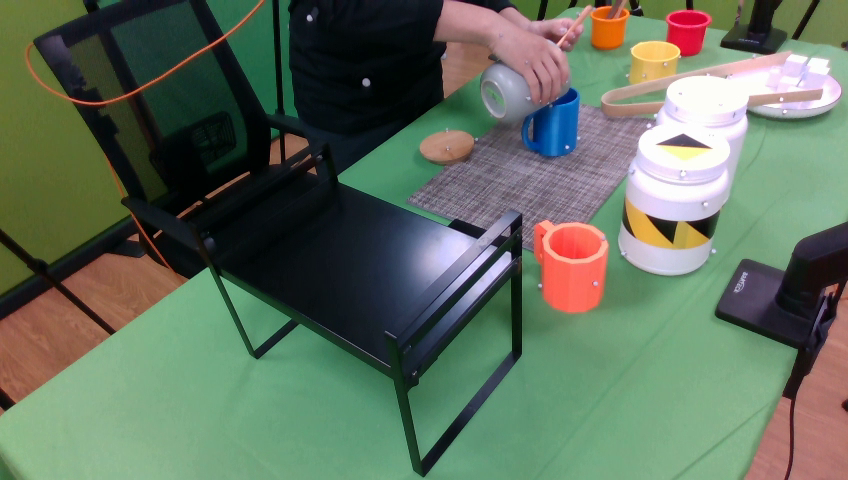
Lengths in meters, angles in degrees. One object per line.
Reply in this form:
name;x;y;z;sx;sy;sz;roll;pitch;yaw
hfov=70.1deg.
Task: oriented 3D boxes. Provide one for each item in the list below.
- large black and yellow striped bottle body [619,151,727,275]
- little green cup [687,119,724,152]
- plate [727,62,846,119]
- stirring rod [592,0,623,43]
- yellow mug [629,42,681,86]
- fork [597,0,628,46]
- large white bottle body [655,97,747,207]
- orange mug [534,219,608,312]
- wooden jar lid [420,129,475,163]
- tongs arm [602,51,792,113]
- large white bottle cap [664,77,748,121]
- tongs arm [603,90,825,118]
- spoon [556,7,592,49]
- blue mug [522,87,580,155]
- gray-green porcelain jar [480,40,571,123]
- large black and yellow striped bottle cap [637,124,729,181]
large black and yellow striped bottle body;0.354;-0.056;0.865;0.131;0.185;0.130;-4;41;4
little green cup;0.513;-0.191;1.109;0.061;0.039;0.061;-5;40;5
plate;0.709;-0.292;1.197;0.207;0.039;0.206;-4;40;4
stirring rod;0.460;-0.557;1.461;0.014;0.176;0.006;35;11;22
yellow mug;0.495;-0.389;1.321;0.100;0.064;0.130;-14;40;-7
fork;0.479;-0.558;1.455;0.028;0.019;0.207;35;100;38
large white bottle body;0.431;-0.148;0.959;0.130;0.185;0.130;-4;41;4
orange mug;0.200;0.027;0.858;0.084;0.101;0.125;-24;48;-18
wooden jar lid;0.047;-0.183;1.183;0.108;0.021;0.108;-6;37;5
tongs arm;0.552;-0.320;1.224;0.384;0.027;0.050;-10;43;7
large white bottle cap;0.421;-0.212;0.905;0.115;0.018;0.114;-4;40;4
tongs arm;0.546;-0.262;1.163;0.386;0.028;0.028;-1;49;18
spoon;0.239;-0.347;1.066;0.041;0.022;0.194;31;69;30
blue mug;0.233;-0.218;1.127;0.117;0.106;0.081;-23;43;-16
gray-green porcelain jar;0.169;-0.268;1.034;0.127;0.106;0.105;-31;45;-17
large black and yellow striped bottle cap;0.346;-0.119;0.810;0.115;0.019;0.114;-5;41;5
